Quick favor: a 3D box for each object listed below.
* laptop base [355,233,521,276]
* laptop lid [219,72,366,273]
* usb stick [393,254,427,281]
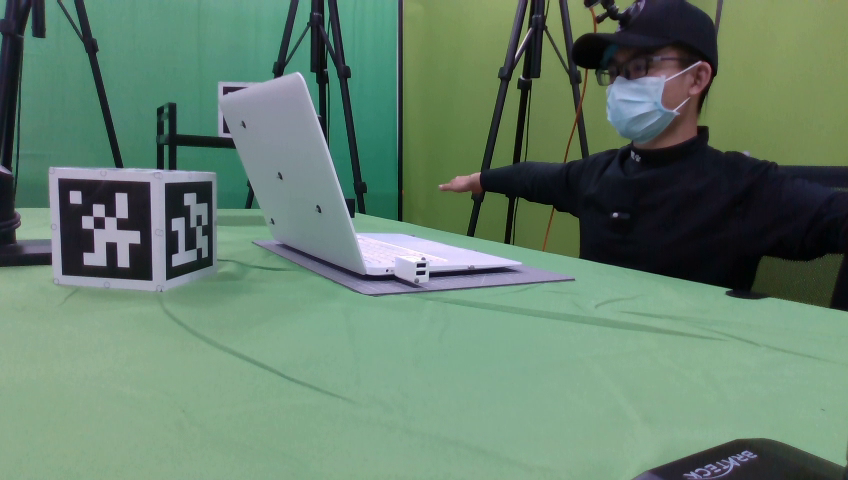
[{"bbox_3d":[-0.056,0.018,0.898,0.237,0.023,0.352,2,6,-32],"label":"laptop base"},{"bbox_3d":[-0.189,-0.087,0.801,0.013,0.242,0.355,-26,21,-26],"label":"laptop lid"},{"bbox_3d":[-0.020,0.030,0.694,0.021,0.027,0.059,-4,5,-31],"label":"usb stick"}]
